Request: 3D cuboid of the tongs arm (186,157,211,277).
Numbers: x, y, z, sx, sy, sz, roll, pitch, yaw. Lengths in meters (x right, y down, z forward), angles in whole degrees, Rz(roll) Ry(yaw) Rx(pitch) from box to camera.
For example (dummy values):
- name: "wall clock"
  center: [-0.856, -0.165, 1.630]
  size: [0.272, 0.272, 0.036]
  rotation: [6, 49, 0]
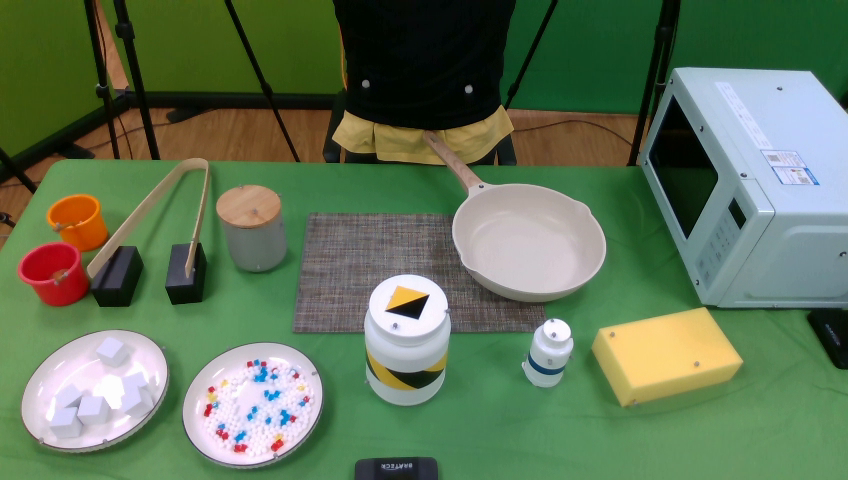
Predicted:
- name: "tongs arm"
  center: [-0.445, -0.057, 1.168]
  size: [0.051, 0.026, 0.382]
  rotation: [-5, 37, -6]

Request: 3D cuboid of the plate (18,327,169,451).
- name: "plate"
  center: [-0.498, 0.229, 0.929]
  size: [0.208, 0.039, 0.206]
  rotation: [2, 47, -2]

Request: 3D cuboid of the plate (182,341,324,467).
- name: "plate"
  center: [-0.257, 0.250, 0.927]
  size: [0.209, 0.038, 0.208]
  rotation: [3, 46, -2]

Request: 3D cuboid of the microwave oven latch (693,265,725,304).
- name: "microwave oven latch"
  center: [0.523, 0.081, 1.116]
  size: [0.030, 0.029, 0.078]
  rotation: [2, 46, -1]

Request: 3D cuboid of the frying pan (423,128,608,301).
- name: "frying pan"
  center: [0.142, -0.069, 1.208]
  size: [0.307, 0.103, 0.485]
  rotation: [-23, 60, -25]

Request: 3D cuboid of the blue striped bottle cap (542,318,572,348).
- name: "blue striped bottle cap"
  center: [0.205, 0.143, 0.933]
  size: [0.044, 0.021, 0.044]
  rotation: [0, 47, 0]

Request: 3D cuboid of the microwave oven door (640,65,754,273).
- name: "microwave oven door"
  center: [0.523, -0.147, 1.193]
  size: [0.039, 0.245, 0.353]
  rotation: [0, 47, -3]

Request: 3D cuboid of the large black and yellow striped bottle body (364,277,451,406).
- name: "large black and yellow striped bottle body"
  center: [-0.026, 0.155, 0.933]
  size: [0.131, 0.185, 0.130]
  rotation: [2, 47, -2]

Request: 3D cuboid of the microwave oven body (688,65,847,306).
- name: "microwave oven body"
  center: [0.669, -0.111, 1.176]
  size: [0.326, 0.261, 0.439]
  rotation: [0, 46, -3]

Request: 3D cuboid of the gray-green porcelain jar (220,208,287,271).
- name: "gray-green porcelain jar"
  center: [-0.310, -0.014, 1.113]
  size: [0.106, 0.127, 0.105]
  rotation: [1, 47, -1]

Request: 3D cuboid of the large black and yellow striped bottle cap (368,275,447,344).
- name: "large black and yellow striped bottle cap"
  center: [-0.024, 0.098, 0.871]
  size: [0.115, 0.019, 0.114]
  rotation: [2, 45, -2]

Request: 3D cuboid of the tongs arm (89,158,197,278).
- name: "tongs arm"
  center: [-0.530, -0.057, 1.164]
  size: [0.028, 0.028, 0.385]
  rotation: [1, 36, 8]

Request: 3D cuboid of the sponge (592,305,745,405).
- name: "sponge"
  center: [0.405, 0.190, 1.014]
  size: [0.207, 0.061, 0.117]
  rotation: [-10, 48, -13]

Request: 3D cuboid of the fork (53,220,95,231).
- name: "fork"
  center: [-0.627, -0.027, 1.086]
  size: [0.028, 0.018, 0.207]
  rotation: [0, 2, -15]

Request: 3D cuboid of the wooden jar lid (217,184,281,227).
- name: "wooden jar lid"
  center: [-0.307, -0.057, 1.067]
  size: [0.108, 0.021, 0.107]
  rotation: [5, 44, -4]

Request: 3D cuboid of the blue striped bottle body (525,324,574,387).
- name: "blue striped bottle body"
  center: [0.202, 0.179, 0.970]
  size: [0.063, 0.121, 0.062]
  rotation: [2, 46, -2]

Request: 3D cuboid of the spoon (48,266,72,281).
- name: "spoon"
  center: [-0.609, 0.057, 1.010]
  size: [0.041, 0.022, 0.193]
  rotation: [-33, 13, -27]
